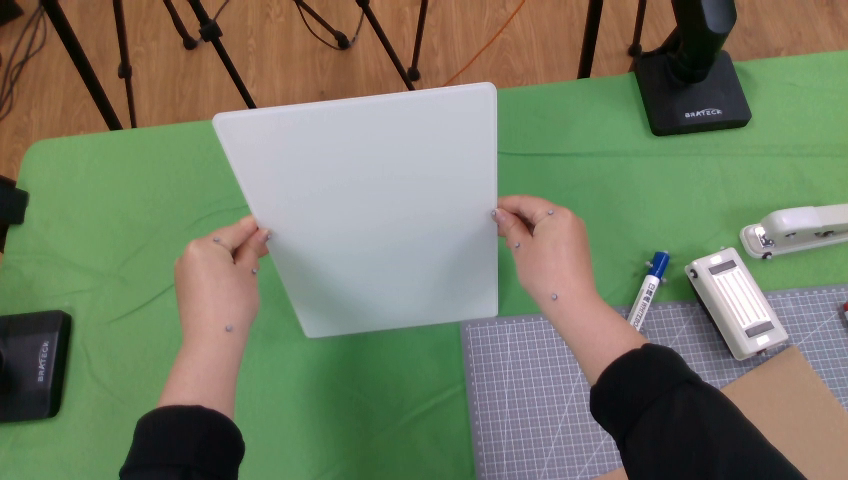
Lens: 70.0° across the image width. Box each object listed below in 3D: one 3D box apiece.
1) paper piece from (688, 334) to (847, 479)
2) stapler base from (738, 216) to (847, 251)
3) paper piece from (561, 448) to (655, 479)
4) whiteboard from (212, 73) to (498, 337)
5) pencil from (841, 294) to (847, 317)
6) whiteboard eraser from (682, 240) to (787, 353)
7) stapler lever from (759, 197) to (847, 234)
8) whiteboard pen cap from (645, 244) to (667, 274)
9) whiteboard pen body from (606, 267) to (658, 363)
[{"bbox_3d":[0.361,0.186,0.608,0.136,0.009,0.137,-28,71,-3],"label":"paper piece"},{"bbox_3d":[0.426,-0.019,0.683,0.130,0.024,0.041,-11,70,-3],"label":"stapler base"},{"bbox_3d":[0.178,0.288,0.577,0.135,0.004,0.134,-20,68,-5],"label":"paper piece"},{"bbox_3d":[-0.043,-0.057,0.607,0.217,0.308,0.142,-6,48,2],"label":"whiteboard"},{"bbox_3d":[0.466,0.147,0.616,0.012,0.012,0.192,-10,70,0],"label":"pencil"},{"bbox_3d":[0.326,0.060,0.643,0.055,0.042,0.111,-20,67,-3],"label":"whiteboard eraser"},{"bbox_3d":[0.426,-0.029,0.661,0.118,0.040,0.026,-11,70,-2],"label":"stapler lever"},{"bbox_3d":[0.259,0.022,0.675,0.018,0.018,0.033,24,68,13],"label":"whiteboard pen cap"},{"bbox_3d":[0.230,0.070,0.658,0.017,0.017,0.140,26,71,14],"label":"whiteboard pen body"}]
